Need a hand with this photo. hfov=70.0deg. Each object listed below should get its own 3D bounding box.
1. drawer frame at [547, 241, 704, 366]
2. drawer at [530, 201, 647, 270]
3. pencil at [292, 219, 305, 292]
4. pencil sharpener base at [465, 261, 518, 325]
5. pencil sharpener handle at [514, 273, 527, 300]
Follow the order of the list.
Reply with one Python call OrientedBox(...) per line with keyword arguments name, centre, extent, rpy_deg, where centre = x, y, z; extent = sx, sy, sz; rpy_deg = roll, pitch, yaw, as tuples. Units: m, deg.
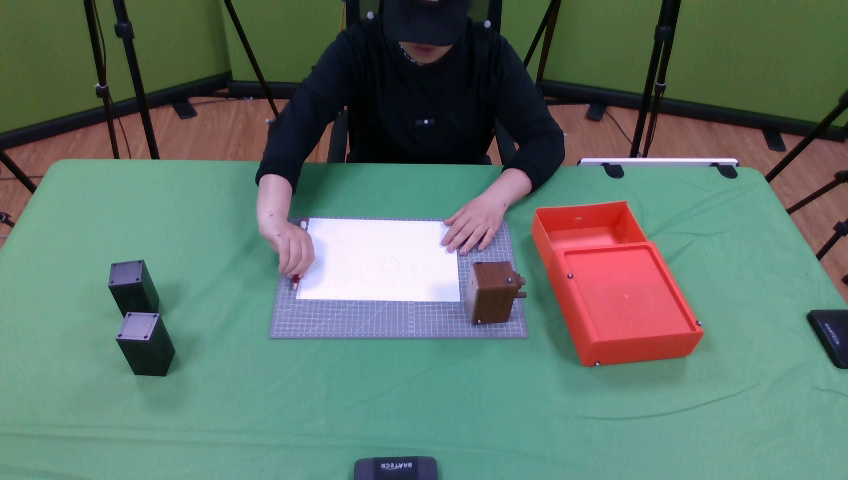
OrientedBox(name="drawer frame", centre=(0.348, 0.106, 1.077), extent=(0.202, 0.083, 0.212), rpy_deg=(-4, 47, -9))
OrientedBox(name="drawer", centre=(0.329, 0.025, 1.159), extent=(0.195, 0.073, 0.210), rpy_deg=(-5, 47, -9))
OrientedBox(name="pencil", centre=(-0.239, 0.026, 1.150), extent=(0.012, 0.012, 0.193), rpy_deg=(0, 43, -5))
OrientedBox(name="pencil sharpener base", centre=(0.117, 0.093, 1.052), extent=(0.077, 0.107, 0.061), rpy_deg=(-3, 46, -7))
OrientedBox(name="pencil sharpener handle", centre=(0.169, 0.081, 1.051), extent=(0.031, 0.068, 0.035), rpy_deg=(-3, 48, -7))
